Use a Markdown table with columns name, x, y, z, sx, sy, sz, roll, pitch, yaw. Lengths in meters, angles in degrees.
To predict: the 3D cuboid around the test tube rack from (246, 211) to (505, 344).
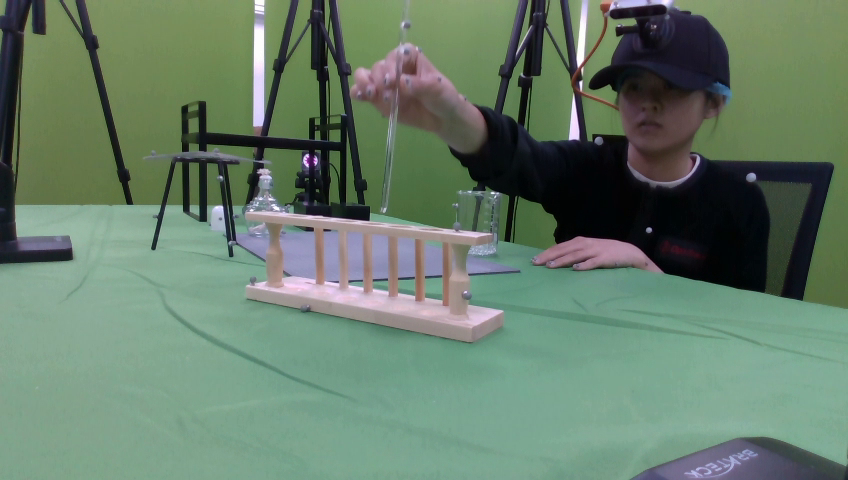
| name | x | y | z | sx | sy | sz | roll | pitch | yaw |
| --- | --- | --- | --- | --- | --- | --- | --- | --- | --- |
| test tube rack | -0.049 | 0.025 | 0.547 | 0.241 | 0.085 | 0.067 | 7 | 8 | 29 |

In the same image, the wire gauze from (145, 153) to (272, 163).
| name | x | y | z | sx | sy | sz | roll | pitch | yaw |
| --- | --- | --- | --- | --- | --- | --- | --- | --- | --- |
| wire gauze | -0.303 | -0.117 | 0.854 | 0.121 | 0.011 | 0.126 | 7 | 8 | 34 |

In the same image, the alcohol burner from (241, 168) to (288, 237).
| name | x | y | z | sx | sy | sz | roll | pitch | yaw |
| --- | --- | --- | --- | --- | --- | --- | --- | --- | --- |
| alcohol burner | -0.272 | -0.064 | 1.036 | 0.078 | 0.119 | 0.078 | 4 | 5 | 0 |

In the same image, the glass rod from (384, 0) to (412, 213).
| name | x | y | z | sx | sy | sz | roll | pitch | yaw |
| --- | --- | --- | --- | --- | --- | --- | --- | --- | --- |
| glass rod | -0.023 | -0.122 | 0.543 | 0.008 | 0.199 | 0.008 | 5 | -7 | 1 |

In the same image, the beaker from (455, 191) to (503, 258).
| name | x | y | z | sx | sy | sz | roll | pitch | yaw |
| --- | --- | --- | --- | --- | --- | --- | --- | --- | --- |
| beaker | 0.087 | -0.025 | 0.955 | 0.074 | 0.100 | 0.083 | -1 | 9 | -26 |

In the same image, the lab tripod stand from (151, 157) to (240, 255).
| name | x | y | z | sx | sy | sz | roll | pitch | yaw |
| --- | --- | --- | --- | --- | --- | --- | --- | --- | --- |
| lab tripod stand | -0.310 | -0.052 | 0.866 | 0.148 | 0.131 | 0.148 | 2 | 6 | 0 |

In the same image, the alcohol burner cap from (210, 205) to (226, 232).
| name | x | y | z | sx | sy | sz | roll | pitch | yaw |
| --- | --- | --- | --- | --- | --- | --- | --- | --- | --- |
| alcohol burner cap | -0.376 | -0.040 | 1.107 | 0.034 | 0.048 | 0.034 | 2 | 7 | 0 |
